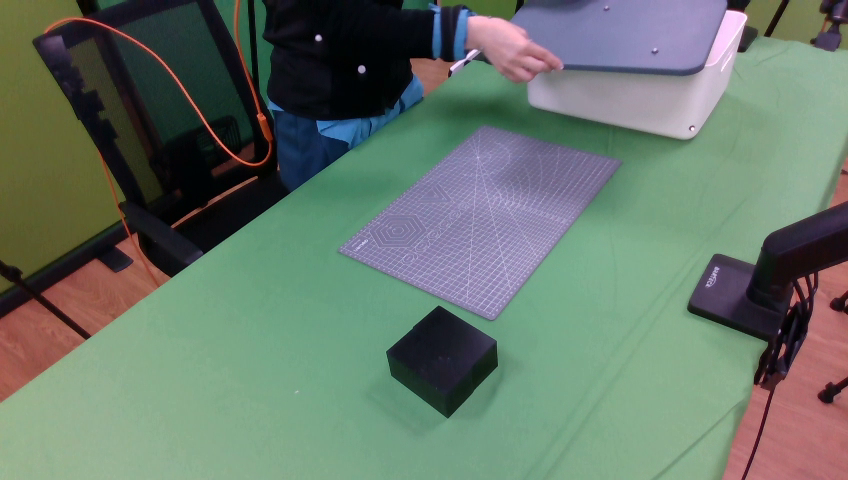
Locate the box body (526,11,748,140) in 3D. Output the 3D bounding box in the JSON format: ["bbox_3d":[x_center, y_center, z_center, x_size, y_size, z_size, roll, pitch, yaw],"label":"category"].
[{"bbox_3d":[0.412,-0.354,1.212,0.361,0.161,0.254,20,48,29],"label":"box body"}]

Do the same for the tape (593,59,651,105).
[{"bbox_3d":[0.409,-0.330,1.260,0.117,0.053,0.116,-5,40,4],"label":"tape"}]

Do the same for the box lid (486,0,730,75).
[{"bbox_3d":[0.318,-0.366,1.055,0.369,0.015,0.263,12,49,28],"label":"box lid"}]
